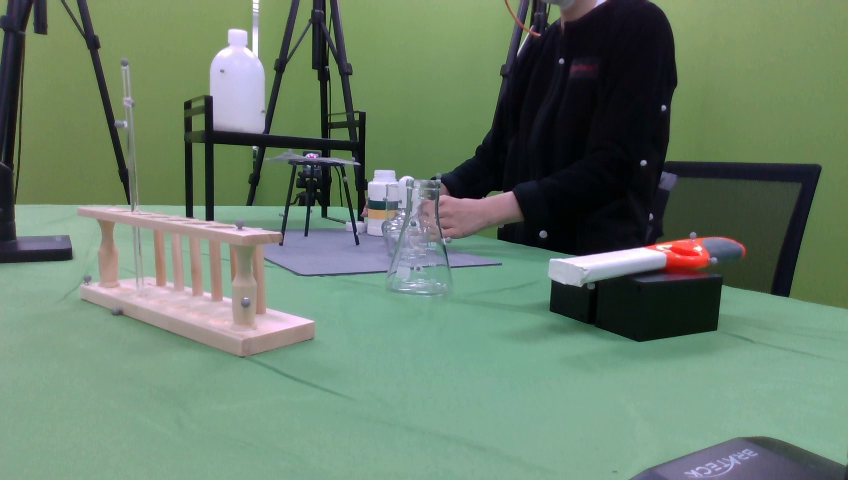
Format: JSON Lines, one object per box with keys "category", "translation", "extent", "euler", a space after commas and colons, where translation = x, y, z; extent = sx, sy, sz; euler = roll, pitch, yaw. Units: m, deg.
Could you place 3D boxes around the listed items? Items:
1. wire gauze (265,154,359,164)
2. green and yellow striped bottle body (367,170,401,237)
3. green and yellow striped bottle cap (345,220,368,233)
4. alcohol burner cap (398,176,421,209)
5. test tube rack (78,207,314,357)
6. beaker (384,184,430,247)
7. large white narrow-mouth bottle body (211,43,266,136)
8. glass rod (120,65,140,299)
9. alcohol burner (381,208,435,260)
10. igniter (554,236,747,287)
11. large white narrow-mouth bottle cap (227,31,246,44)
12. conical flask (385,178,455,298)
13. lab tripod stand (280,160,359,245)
{"category": "wire gauze", "translation": [-0.181, -0.129, 0.969], "extent": [0.126, 0.011, 0.121], "euler": [-1, 7, -27]}
{"category": "green and yellow striped bottle body", "translation": [-0.072, -0.069, 1.109], "extent": [0.063, 0.119, 0.063], "euler": [1, 9, 0]}
{"category": "green and yellow striped bottle cap", "translation": [-0.130, -0.026, 1.169], "extent": [0.045, 0.020, 0.045], "euler": [3, 10, 0]}
{"category": "alcohol burner cap", "translation": [-0.023, -0.068, 0.866], "extent": [0.034, 0.048, 0.034], "euler": [-5, 8, 1]}
{"category": "test tube rack", "translation": [-0.197, 0.023, 0.499], "extent": [0.241, 0.085, 0.067], "euler": [8, 8, 37]}
{"category": "beaker", "translation": [-0.027, -0.041, 0.996], "extent": [0.074, 0.100, 0.083], "euler": [-5, 11, -43]}
{"category": "large white narrow-mouth bottle body", "translation": [-0.361, -0.302, 1.176], "extent": [0.102, 0.194, 0.102], "euler": [1, 7, 0]}
{"category": "glass rod", "translation": [-0.249, -0.047, 0.513], "extent": [0.008, 0.199, 0.008], "euler": [-1, 4, 0]}
{"category": "alcohol burner", "translation": [-0.023, -0.032, 0.871], "extent": [0.078, 0.119, 0.078], "euler": [0, 6, 0]}
{"category": "igniter", "translation": [0.221, 0.017, 0.558], "extent": [0.278, 0.025, 0.057], "euler": [-5, 15, -39]}
{"category": "large white narrow-mouth bottle cap", "translation": [-0.361, -0.388, 1.165], "extent": [0.038, 0.024, 0.037], "euler": [1, 7, 0]}
{"category": "conical flask", "translation": [-0.002, -0.004, 0.639], "extent": [0.075, 0.122, 0.075], "euler": [2, 7, 0]}
{"category": "lab tripod stand", "translation": [-0.176, -0.062, 0.973], "extent": [0.148, 0.131, 0.148], "euler": [1, 7, 0]}
